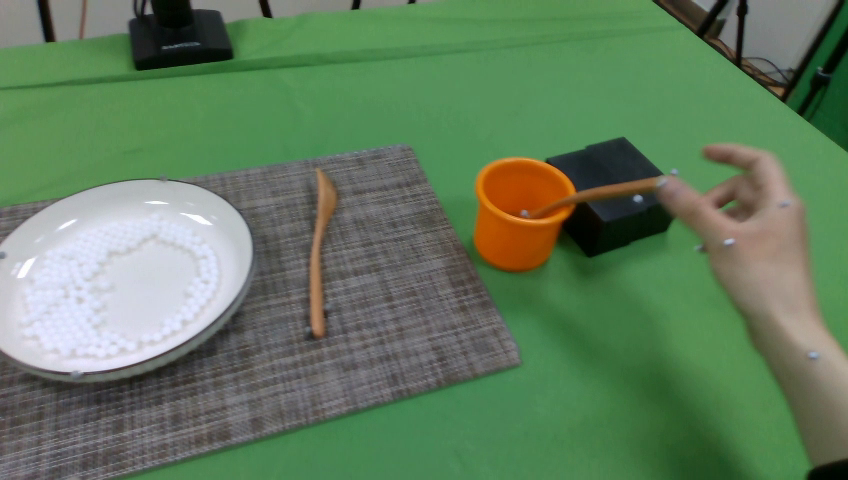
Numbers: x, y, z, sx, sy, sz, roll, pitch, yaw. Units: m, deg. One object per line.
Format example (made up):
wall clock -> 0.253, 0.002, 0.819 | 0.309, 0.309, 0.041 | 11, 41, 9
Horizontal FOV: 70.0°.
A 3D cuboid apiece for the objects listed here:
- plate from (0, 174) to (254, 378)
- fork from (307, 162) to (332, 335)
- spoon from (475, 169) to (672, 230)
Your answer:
plate -> -0.246, 0.026, 0.503 | 0.209, 0.038, 0.207 | 3, 47, -3
fork -> -0.098, -0.001, 0.556 | 0.018, 0.028, 0.205 | -20, 47, 18
spoon -> 0.121, -0.036, 0.531 | 0.022, 0.193, 0.041 | 56, 49, -15
